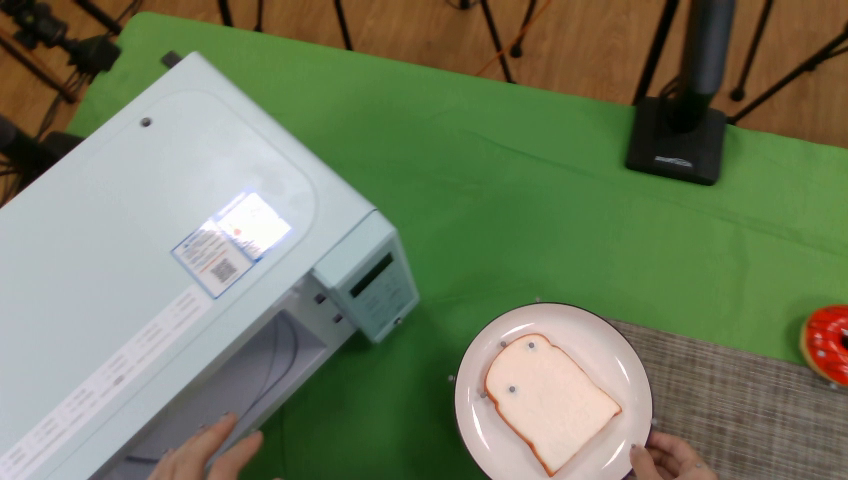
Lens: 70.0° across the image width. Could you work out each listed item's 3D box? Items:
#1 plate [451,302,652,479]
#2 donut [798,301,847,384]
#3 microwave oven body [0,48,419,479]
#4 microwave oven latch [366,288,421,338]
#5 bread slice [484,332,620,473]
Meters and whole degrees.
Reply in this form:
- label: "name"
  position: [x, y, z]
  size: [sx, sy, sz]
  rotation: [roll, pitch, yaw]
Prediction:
- label: "plate"
  position: [0.134, 0.171, 0.650]
  size: [0.207, 0.039, 0.206]
  rotation: [-1, 73, 4]
- label: "donut"
  position: [0.486, 0.118, 0.696]
  size: [0.099, 0.048, 0.098]
  rotation: [-3, 65, 7]
- label: "microwave oven body"
  position: [-0.276, 0.077, 0.660]
  size: [0.324, 0.262, 0.441]
  rotation: [42, 78, 17]
- label: "microwave oven latch"
  position: [-0.038, 0.083, 0.741]
  size: [0.079, 0.030, 0.030]
  rotation: [-43, 72, -10]
- label: "bread slice"
  position: [0.129, 0.166, 0.654]
  size: [0.105, 0.019, 0.131]
  rotation: [-41, 75, -10]
